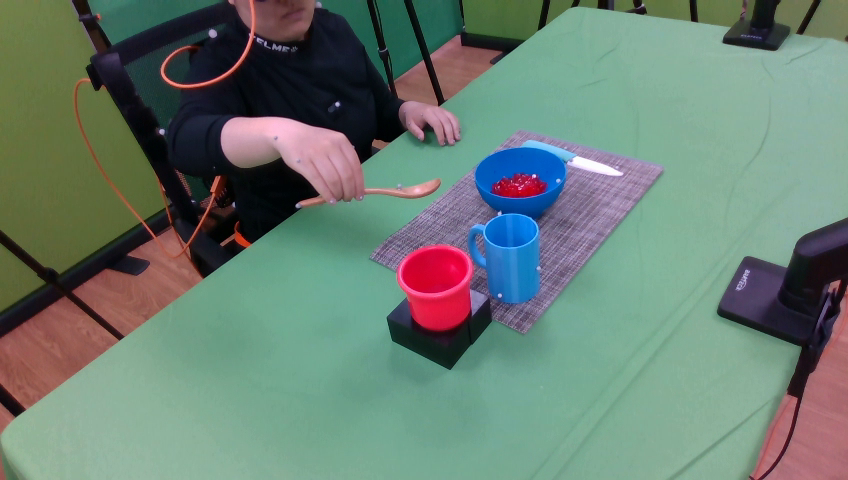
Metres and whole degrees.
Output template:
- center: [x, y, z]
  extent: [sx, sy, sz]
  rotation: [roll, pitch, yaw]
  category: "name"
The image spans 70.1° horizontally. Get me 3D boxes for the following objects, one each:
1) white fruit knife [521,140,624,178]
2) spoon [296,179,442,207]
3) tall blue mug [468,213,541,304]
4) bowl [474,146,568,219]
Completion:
- center: [0.270, -0.149, 1.110]
  extent: [0.206, 0.016, 0.027]
  rotation: [25, 80, 32]
  category: "white fruit knife"
- center: [-0.072, -0.062, 0.798]
  extent: [0.194, 0.022, 0.041]
  rotation: [-5, 24, -1]
  category: "spoon"
- center: [0.111, 0.026, 0.856]
  extent: [0.107, 0.108, 0.077]
  rotation: [2, 42, 13]
  category: "tall blue mug"
- center: [0.161, -0.083, 1.001]
  extent: [0.151, 0.077, 0.150]
  rotation: [-5, 40, 5]
  category: "bowl"
